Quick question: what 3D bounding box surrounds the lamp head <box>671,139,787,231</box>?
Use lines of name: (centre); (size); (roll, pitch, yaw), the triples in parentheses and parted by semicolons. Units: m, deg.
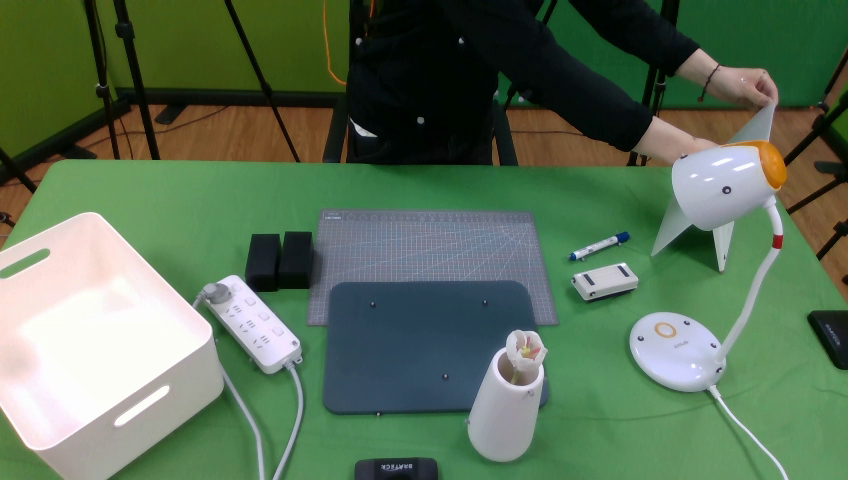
lamp head: (0.415, -0.078, 0.811); (0.113, 0.123, 0.112); (12, 70, -37)

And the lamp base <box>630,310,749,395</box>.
lamp base: (0.447, 0.143, 0.984); (0.161, 0.181, 0.178); (-24, 55, -24)

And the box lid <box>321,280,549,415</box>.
box lid: (0.013, 0.174, 1.040); (0.372, 0.015, 0.261); (0, 47, -5)

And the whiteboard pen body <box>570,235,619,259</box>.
whiteboard pen body: (0.351, 0.011, 1.215); (0.141, 0.017, 0.017); (-20, 51, -23)

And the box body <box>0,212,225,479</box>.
box body: (-0.506, 0.155, 0.915); (0.362, 0.161, 0.254); (35, 54, 26)

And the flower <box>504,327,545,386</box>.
flower: (0.114, 0.189, 0.790); (0.044, 0.363, 0.038); (34, 69, 19)

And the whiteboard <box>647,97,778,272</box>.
whiteboard: (0.602, -0.079, 1.162); (0.144, 0.306, 0.216); (35, 51, 2)

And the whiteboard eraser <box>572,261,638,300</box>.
whiteboard eraser: (0.338, 0.078, 1.133); (0.113, 0.042, 0.055); (-12, 46, -15)

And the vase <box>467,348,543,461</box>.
vase: (0.116, 0.235, 0.860); (0.098, 0.201, 0.097); (1, 47, -1)

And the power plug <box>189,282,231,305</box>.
power plug: (-0.368, 0.097, 1.038); (0.072, 0.053, 0.035); (-27, 55, -21)

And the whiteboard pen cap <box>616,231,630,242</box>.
whiteboard pen cap: (0.403, -0.007, 1.235); (0.033, 0.018, 0.018); (-18, 50, -24)

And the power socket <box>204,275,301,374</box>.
power socket: (-0.296, 0.140, 1.035); (0.072, 0.033, 0.225); (-33, 57, -29)
